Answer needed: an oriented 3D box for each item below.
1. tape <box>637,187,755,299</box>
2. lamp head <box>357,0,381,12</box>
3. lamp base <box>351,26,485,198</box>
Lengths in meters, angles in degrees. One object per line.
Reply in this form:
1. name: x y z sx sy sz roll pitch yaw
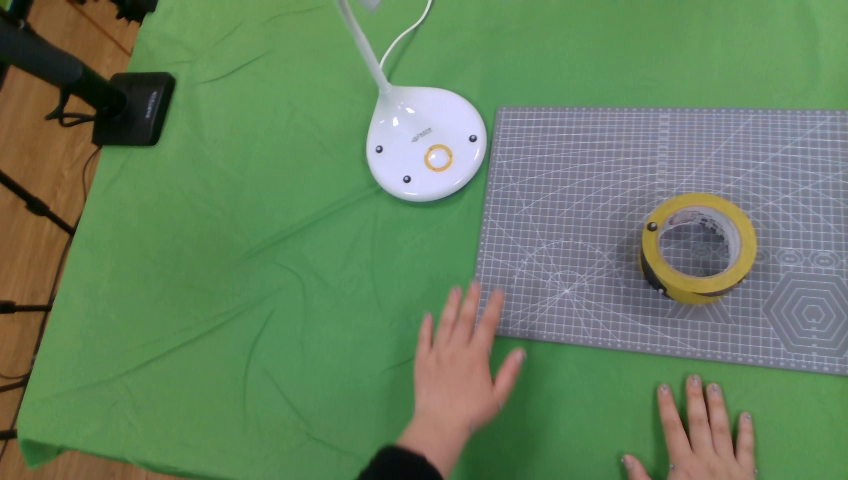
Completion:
1. tape: 0.288 0.003 0.651 0.116 0.053 0.116 -4 71 12
2. lamp head: -0.051 -0.245 0.434 0.123 0.112 0.112 35 82 -12
3. lamp base: -0.027 -0.161 0.720 0.160 0.182 0.177 -43 64 -3
